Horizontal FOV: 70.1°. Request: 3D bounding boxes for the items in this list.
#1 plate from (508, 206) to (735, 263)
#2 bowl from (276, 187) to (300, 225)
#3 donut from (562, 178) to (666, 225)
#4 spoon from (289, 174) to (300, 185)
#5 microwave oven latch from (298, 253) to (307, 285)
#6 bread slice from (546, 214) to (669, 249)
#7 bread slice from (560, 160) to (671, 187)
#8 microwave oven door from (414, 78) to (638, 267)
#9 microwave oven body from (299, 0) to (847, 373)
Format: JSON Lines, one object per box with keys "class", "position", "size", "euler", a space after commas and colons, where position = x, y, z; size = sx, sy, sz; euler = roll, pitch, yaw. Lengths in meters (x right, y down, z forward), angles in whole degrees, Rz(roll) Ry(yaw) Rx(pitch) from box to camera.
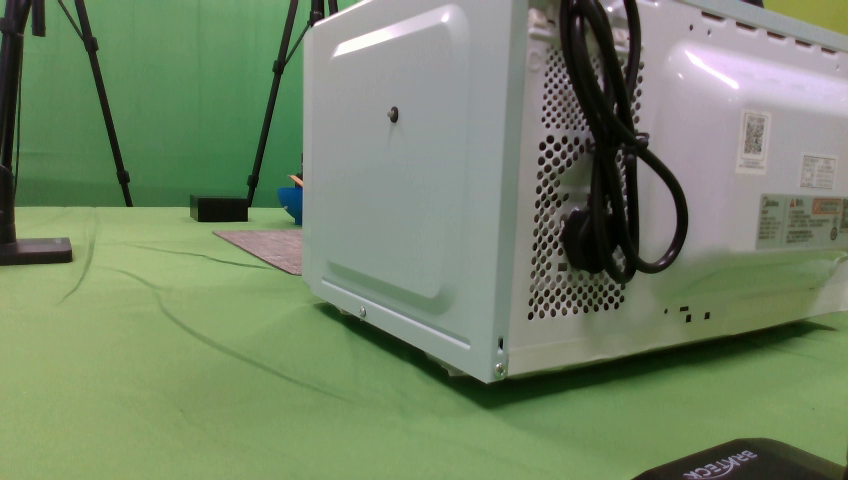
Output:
{"class": "plate", "position": [0.186, -0.007, 0.590], "size": [0.208, 0.039, 0.207], "euler": [2, 7, 0]}
{"class": "bowl", "position": [-0.241, -0.073, 1.302], "size": [0.151, 0.077, 0.151], "euler": [2, 7, 0]}
{"class": "donut", "position": [0.184, -0.037, 0.588], "size": [0.099, 0.048, 0.099], "euler": [0, 3, 0]}
{"class": "spoon", "position": [-0.261, -0.111, 1.343], "size": [0.042, 0.021, 0.192], "euler": [-8, 33, -30]}
{"class": "microwave oven latch", "position": [-0.081, 0.027, 0.582], "size": [0.079, 0.029, 0.030], "euler": [-1, 7, -32]}
{"class": "bread slice", "position": [0.180, -0.007, 0.588], "size": [0.107, 0.018, 0.134], "euler": [-6, -6, 4]}
{"class": "bread slice", "position": [0.184, -0.063, 0.580], "size": [0.105, 0.019, 0.132], "euler": [6, 5, 14]}
{"class": "microwave oven door", "position": [0.129, -0.104, 0.889], "size": [0.354, 0.243, 0.039], "euler": [9, 10, 41]}
{"class": "microwave oven body", "position": [0.151, -0.055, 0.543], "size": [0.444, 0.260, 0.324], "euler": [-1, 7, -33]}
